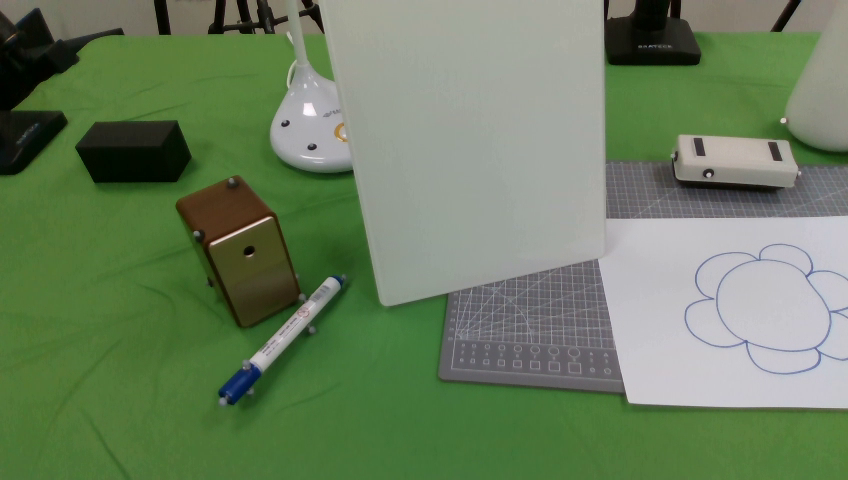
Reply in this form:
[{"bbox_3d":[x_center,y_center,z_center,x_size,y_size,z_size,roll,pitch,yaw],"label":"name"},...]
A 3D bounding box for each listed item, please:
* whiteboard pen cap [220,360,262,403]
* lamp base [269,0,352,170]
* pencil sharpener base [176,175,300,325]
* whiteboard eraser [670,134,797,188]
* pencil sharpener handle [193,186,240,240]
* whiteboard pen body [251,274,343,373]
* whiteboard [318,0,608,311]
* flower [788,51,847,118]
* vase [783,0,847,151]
[{"bbox_3d":[-0.142,0.110,0.474,0.018,0.018,0.033,21,46,24],"label":"whiteboard pen cap"},{"bbox_3d":[-0.119,-0.197,0.685,0.160,0.182,0.177,-33,48,-26],"label":"lamp base"},{"bbox_3d":[-0.160,0.008,0.529,0.061,0.108,0.076,-29,48,-23],"label":"pencil sharpener base"},{"bbox_3d":[0.314,-0.079,0.622,0.112,0.042,0.055,4,42,10],"label":"whiteboard eraser"},{"bbox_3d":[-0.190,-0.028,0.551,0.036,0.068,0.030,-34,50,-17],"label":"pencil sharpener handle"},{"bbox_3d":[-0.114,0.076,0.515,0.017,0.017,0.140,18,45,23],"label":"whiteboard pen body"},{"bbox_3d":[0.033,-0.123,0.548,0.217,0.308,0.142,-12,25,-6],"label":"whiteboard"},{"bbox_3d":[0.451,-0.239,0.548,0.044,0.364,0.038,-15,62,-20],"label":"flower"},{"bbox_3d":[0.448,-0.190,0.617,0.098,0.202,0.097,-2,44,2],"label":"vase"}]
